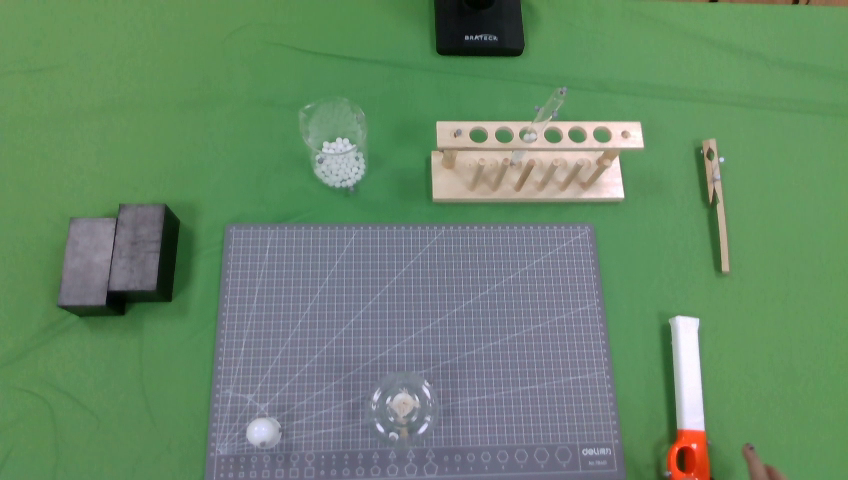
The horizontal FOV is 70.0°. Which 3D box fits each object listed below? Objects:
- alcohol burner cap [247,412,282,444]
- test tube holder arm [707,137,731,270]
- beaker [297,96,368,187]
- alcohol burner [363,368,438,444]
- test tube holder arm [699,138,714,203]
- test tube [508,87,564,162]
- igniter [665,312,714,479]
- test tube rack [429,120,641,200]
[{"bbox_3d":[-0.168,0.196,0.634,0.034,0.048,0.033,1,71,-4],"label":"alcohol burner cap"},{"bbox_3d":[0.375,-0.048,0.773,0.013,0.015,0.177,-11,69,28],"label":"test tube holder arm"},{"bbox_3d":[-0.107,-0.113,0.717,0.084,0.101,0.073,27,71,6],"label":"beaker"},{"bbox_3d":[-0.023,0.167,0.618,0.078,0.120,0.077,2,69,-4],"label":"alcohol burner"},{"bbox_3d":[0.370,-0.090,0.790,0.010,0.015,0.087,-10,70,29],"label":"test tube holder arm"},{"bbox_3d":[0.124,-0.127,0.694,0.017,0.151,0.017,4,70,-10],"label":"test tube"},{"bbox_3d":[0.294,0.218,0.675,0.057,0.025,0.275,9,71,-12],"label":"igniter"},{"bbox_3d":[0.131,-0.096,0.737,0.243,0.085,0.066,-1,71,-5],"label":"test tube rack"}]
